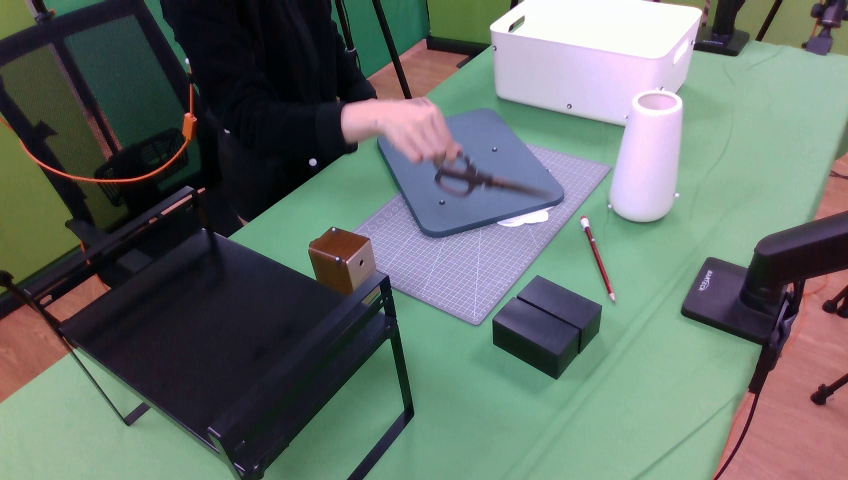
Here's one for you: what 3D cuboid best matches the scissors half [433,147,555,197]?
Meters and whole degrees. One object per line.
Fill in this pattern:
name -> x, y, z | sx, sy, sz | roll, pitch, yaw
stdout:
scissors half -> 0.090, -0.087, 0.797 | 0.174, 0.040, 0.013 | 23, 48, 17

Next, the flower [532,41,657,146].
flower -> 0.370, -0.320, 1.323 | 0.359, 0.044, 0.038 | 47, 36, 21

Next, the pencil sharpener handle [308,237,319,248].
pencil sharpener handle -> -0.159, 0.017, 0.892 | 0.030, 0.068, 0.036 | 18, 61, 27

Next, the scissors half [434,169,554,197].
scissors half -> 0.092, -0.072, 0.811 | 0.174, 0.040, 0.013 | 11, 48, 30

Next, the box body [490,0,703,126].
box body -> 0.352, -0.384, 1.268 | 0.361, 0.161, 0.255 | 21, 48, 29

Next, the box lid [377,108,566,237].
box lid -> 0.074, -0.141, 1.137 | 0.264, 0.015, 0.368 | -16, 40, -10

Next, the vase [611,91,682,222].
vase -> 0.348, -0.125, 0.935 | 0.098, 0.201, 0.097 | -3, 40, 3

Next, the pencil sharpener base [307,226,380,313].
pencil sharpener base -> -0.116, 0.043, 0.875 | 0.076, 0.107, 0.061 | 18, 47, 27

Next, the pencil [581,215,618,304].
pencil -> 0.266, 0.026, 0.917 | 0.012, 0.012, 0.193 | -6, 42, 1
